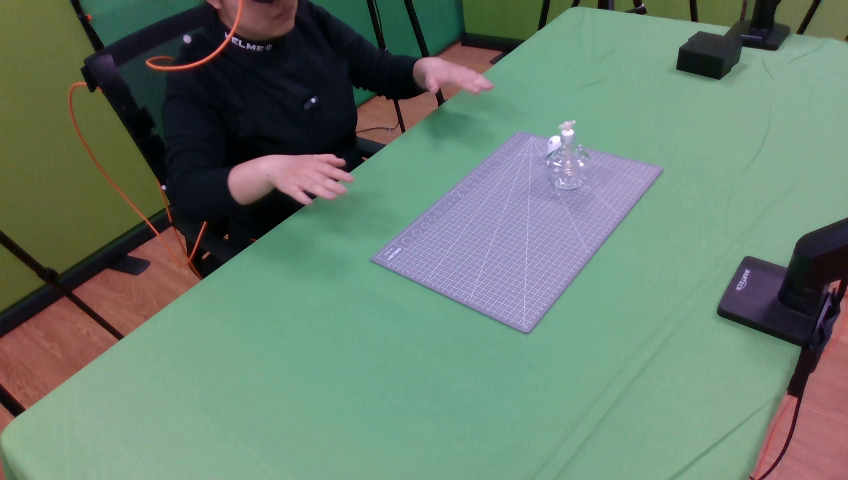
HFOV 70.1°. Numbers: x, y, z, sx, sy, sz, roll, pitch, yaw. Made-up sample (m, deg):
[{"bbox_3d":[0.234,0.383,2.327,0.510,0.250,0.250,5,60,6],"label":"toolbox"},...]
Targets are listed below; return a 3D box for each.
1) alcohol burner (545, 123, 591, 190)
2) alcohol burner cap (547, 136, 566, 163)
[{"bbox_3d":[0.247,-0.147,1.034,0.078,0.120,0.077,-7,41,6],"label":"alcohol burner"},{"bbox_3d":[0.245,-0.170,1.118,0.034,0.048,0.033,-6,40,6],"label":"alcohol burner cap"}]
